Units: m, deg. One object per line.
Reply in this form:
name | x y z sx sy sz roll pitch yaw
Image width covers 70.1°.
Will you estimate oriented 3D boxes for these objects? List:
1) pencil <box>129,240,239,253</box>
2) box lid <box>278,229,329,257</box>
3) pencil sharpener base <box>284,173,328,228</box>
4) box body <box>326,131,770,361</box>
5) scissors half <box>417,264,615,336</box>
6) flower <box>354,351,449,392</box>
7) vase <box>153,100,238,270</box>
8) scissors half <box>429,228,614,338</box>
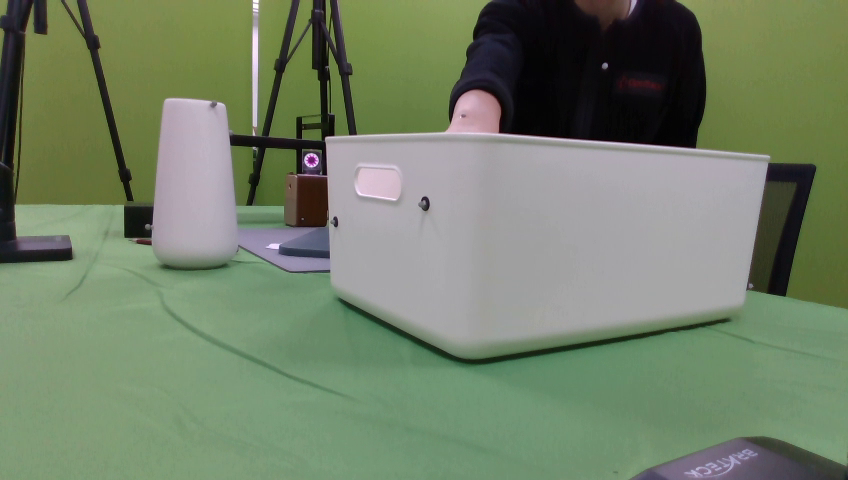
pencil | -0.350 0.008 0.874 0.193 0.012 0.012 4 7 18
box lid | -0.019 0.012 0.950 0.371 0.015 0.263 4 7 4
pencil sharpener base | -0.239 -0.081 1.231 0.077 0.107 0.061 -2 8 -36
box body | 0.112 -0.011 0.583 0.366 0.160 0.253 -2 9 -32
scissors half | 0.076 0.057 0.521 0.175 0.040 0.013 13 15 14
flower | 0.104 0.076 0.586 0.363 0.044 0.038 -20 39 -14
vase | -0.278 -0.066 0.736 0.098 0.200 0.098 2 9 0
scissors half | 0.083 0.038 0.516 0.175 0.040 0.013 31 13 9
